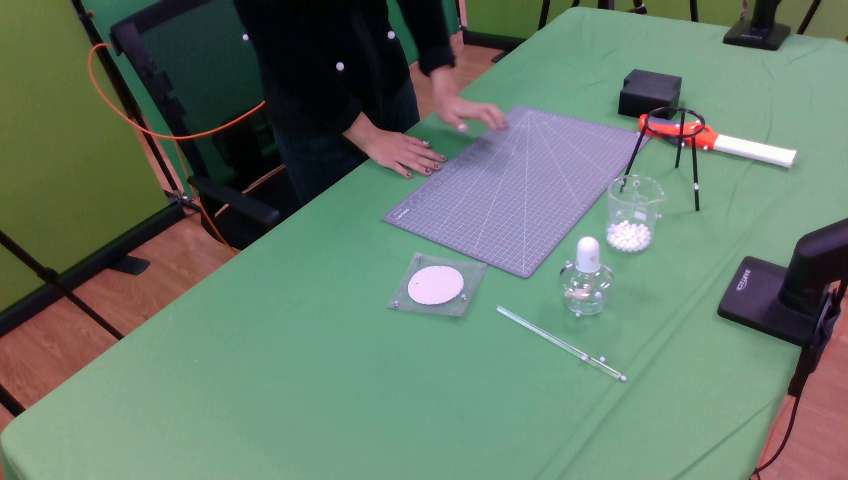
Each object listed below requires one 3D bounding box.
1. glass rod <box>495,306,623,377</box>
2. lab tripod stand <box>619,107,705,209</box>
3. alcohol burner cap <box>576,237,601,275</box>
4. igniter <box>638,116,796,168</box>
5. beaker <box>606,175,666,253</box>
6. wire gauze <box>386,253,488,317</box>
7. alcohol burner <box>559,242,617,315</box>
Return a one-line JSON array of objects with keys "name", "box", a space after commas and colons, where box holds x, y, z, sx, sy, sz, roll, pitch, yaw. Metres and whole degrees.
[{"name": "glass rod", "box": [0.174, 0.131, 0.804, 0.198, 0.008, 0.008, 27, 53, 35]}, {"name": "lab tripod stand", "box": [0.400, -0.136, 0.981, 0.148, 0.132, 0.147, -4, 41, 4]}, {"name": "alcohol burner cap", "box": [0.216, 0.018, 0.793, 0.034, 0.048, 0.033, -7, 35, 6]}, {"name": "igniter", "box": [0.517, -0.181, 1.093, 0.274, 0.025, 0.057, 23, 65, 32]}, {"name": "beaker", "box": [0.314, -0.036, 0.906, 0.083, 0.101, 0.074, 15, 46, 25]}, {"name": "wire gauze", "box": [0.021, 0.067, 0.910, 0.121, 0.011, 0.125, 9, 41, 20]}, {"name": "alcohol burner", "box": [0.222, 0.045, 0.816, 0.078, 0.119, 0.077, -4, 42, 4]}]
